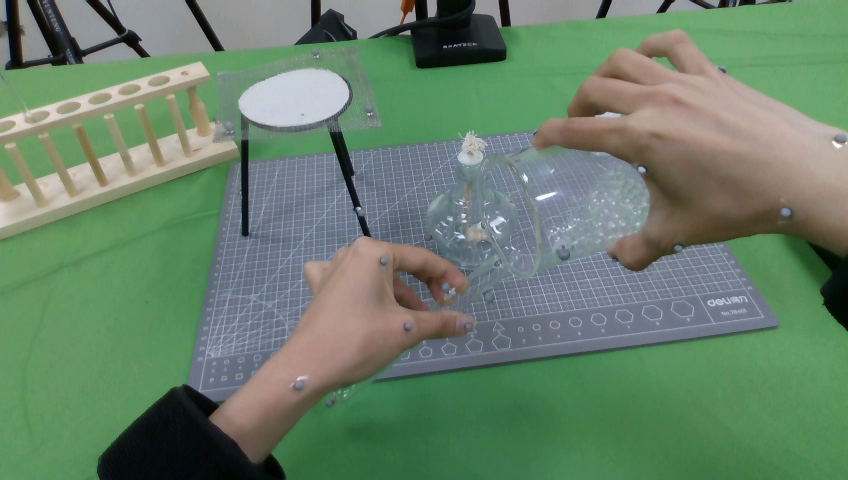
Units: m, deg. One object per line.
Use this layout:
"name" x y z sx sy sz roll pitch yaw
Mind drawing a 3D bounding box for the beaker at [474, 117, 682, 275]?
"beaker" 0.090 -0.027 0.357 0.100 0.085 0.073 -17 51 -15

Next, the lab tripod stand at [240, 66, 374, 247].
"lab tripod stand" -0.103 -0.070 0.530 0.148 0.133 0.147 -2 46 3

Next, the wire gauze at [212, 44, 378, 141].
"wire gauze" -0.107 -0.119 0.483 0.125 0.011 0.120 -11 45 -7

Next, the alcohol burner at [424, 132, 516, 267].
"alcohol burner" 0.038 -0.036 0.499 0.078 0.120 0.077 -2 42 2

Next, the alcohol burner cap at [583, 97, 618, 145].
"alcohol burner cap" 0.186 -0.127 0.636 0.034 0.048 0.033 -2 44 2

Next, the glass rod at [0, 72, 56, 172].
"glass rod" -0.376 -0.130 0.551 0.008 0.201 0.008 -1 48 2

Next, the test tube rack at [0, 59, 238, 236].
"test tube rack" -0.324 -0.097 0.610 0.243 0.086 0.066 -24 47 -20

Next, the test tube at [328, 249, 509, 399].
"test tube" -0.007 0.057 0.391 0.150 0.017 0.017 -40 44 14
